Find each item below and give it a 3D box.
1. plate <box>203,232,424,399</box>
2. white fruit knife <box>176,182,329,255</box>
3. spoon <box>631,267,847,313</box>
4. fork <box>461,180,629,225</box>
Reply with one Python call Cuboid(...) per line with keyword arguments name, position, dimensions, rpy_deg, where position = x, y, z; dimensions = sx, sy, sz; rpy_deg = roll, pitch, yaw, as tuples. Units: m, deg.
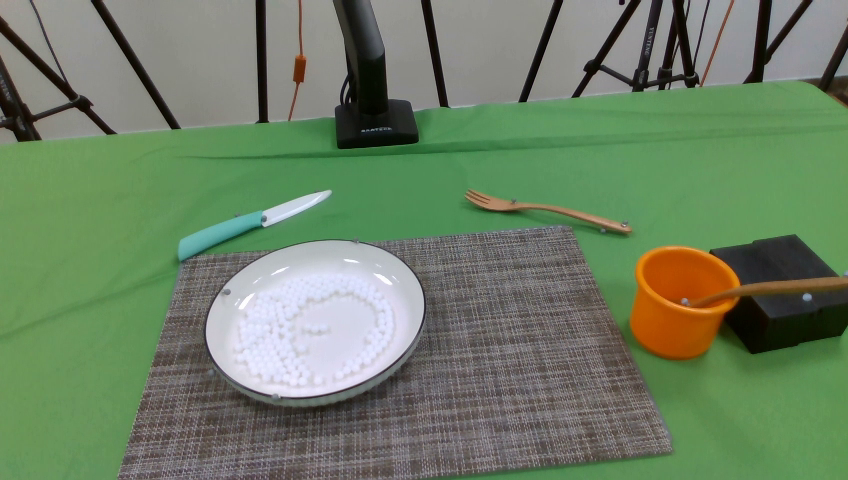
Cuboid(name="plate", position=(-0.102, 0.071, 0.589), dimensions=(0.209, 0.038, 0.207), rpy_deg=(-1, 40, 1))
Cuboid(name="white fruit knife", position=(-0.204, -0.033, 0.737), dimensions=(0.207, 0.016, 0.027), rpy_deg=(-26, 70, -32))
Cuboid(name="spoon", position=(0.265, 0.043, 0.535), dimensions=(0.041, 0.193, 0.021), rpy_deg=(-30, 92, -33))
Cuboid(name="fork", position=(0.145, -0.045, 0.740), dimensions=(0.206, 0.019, 0.028), rpy_deg=(12, 36, 17))
